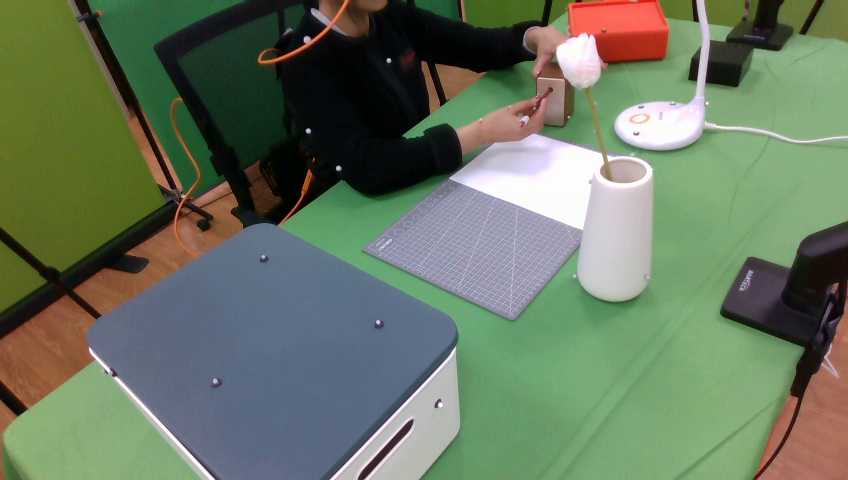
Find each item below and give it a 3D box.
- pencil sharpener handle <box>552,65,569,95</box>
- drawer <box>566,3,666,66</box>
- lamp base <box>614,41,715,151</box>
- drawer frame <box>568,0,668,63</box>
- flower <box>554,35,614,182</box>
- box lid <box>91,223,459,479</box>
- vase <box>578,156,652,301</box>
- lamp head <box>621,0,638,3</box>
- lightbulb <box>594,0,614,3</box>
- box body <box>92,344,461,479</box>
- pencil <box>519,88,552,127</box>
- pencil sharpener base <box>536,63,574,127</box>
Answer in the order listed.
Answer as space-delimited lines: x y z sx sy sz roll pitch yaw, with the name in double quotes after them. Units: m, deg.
0.284 -0.334 1.244 0.036 0.068 0.030 10 43 23 "pencil sharpener handle"
0.447 -0.493 1.441 0.211 0.073 0.194 0 40 10 "drawer"
0.449 -0.277 1.106 0.179 0.181 0.160 1 41 9 "lamp base"
0.450 -0.496 1.441 0.213 0.083 0.201 -1 40 9 "drawer frame"
0.237 -0.083 0.774 0.044 0.363 0.038 -22 26 7 "flower"
-0.174 0.103 0.666 0.368 0.015 0.264 24 49 35 "box lid"
0.261 -0.011 0.812 0.098 0.201 0.097 -4 40 4 "vase"
0.319 -0.453 0.962 0.113 0.123 0.112 20 33 -13 "lamp head"
0.305 -0.437 0.977 0.060 0.107 0.059 12 44 -11 "lightbulb"
-0.162 0.170 0.708 0.361 0.161 0.255 25 50 34 "box body"
0.216 -0.256 1.132 0.012 0.012 0.194 13 41 25 "pencil"
0.265 -0.293 1.217 0.061 0.107 0.077 10 43 23 "pencil sharpener base"
